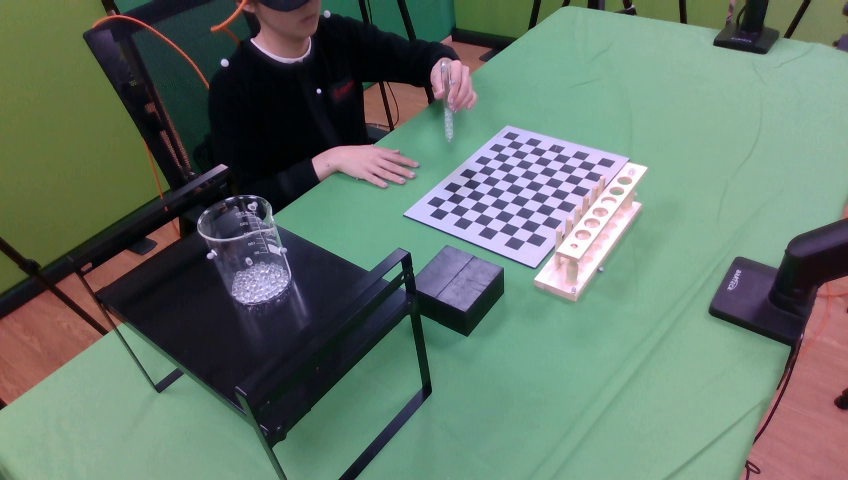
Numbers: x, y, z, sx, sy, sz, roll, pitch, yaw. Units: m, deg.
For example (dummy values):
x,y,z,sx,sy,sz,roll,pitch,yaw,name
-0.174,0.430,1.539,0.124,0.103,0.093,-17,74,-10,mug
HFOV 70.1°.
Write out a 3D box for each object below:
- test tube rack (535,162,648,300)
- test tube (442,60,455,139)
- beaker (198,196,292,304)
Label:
x,y,z,sx,sy,sz,roll,pitch,yaw,name
0.257,-0.024,0.916,0.066,0.085,0.243,22,49,30,test tube rack
0.044,-0.247,1.077,0.017,0.151,0.017,-4,40,4,test tube
-0.185,0.014,0.651,0.083,0.101,0.074,9,44,18,beaker
